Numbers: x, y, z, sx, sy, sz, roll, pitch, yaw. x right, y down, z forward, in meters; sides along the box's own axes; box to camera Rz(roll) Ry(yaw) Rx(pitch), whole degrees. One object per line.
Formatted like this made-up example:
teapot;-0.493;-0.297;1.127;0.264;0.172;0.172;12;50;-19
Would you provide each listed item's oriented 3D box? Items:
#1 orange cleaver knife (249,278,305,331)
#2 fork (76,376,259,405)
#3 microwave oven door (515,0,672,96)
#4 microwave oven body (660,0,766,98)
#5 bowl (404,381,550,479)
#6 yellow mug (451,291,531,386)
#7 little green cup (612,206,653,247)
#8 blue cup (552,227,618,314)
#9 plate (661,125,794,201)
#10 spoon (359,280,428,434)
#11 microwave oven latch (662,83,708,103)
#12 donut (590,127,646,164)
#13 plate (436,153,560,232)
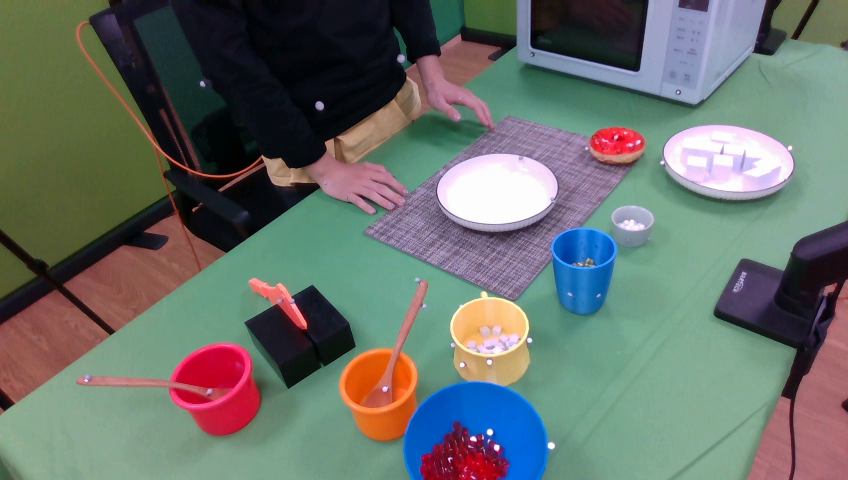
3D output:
orange cleaver knife;-0.210;0.089;0.856;0.012;0.077;0.210;-28;15;-25
fork;-0.295;0.176;0.716;0.209;0.018;0.028;19;27;-37
microwave oven door;0.343;-0.454;1.259;0.353;0.245;0.039;26;51;33
microwave oven body;0.472;-0.513;1.317;0.438;0.261;0.327;26;51;34
bowl;0.058;0.235;0.645;0.151;0.077;0.150;-4;39;4
yellow mug;0.085;0.120;0.786;0.100;0.064;0.130;-7;39;1
little green cup;0.321;-0.019;0.936;0.061;0.039;0.061;-4;41;4
blue cup;0.217;0.047;0.825;0.092;0.100;0.092;-6;40;5
plate;0.513;-0.128;1.035;0.207;0.039;0.206;-4;40;4
spoon;-0.032;0.138;0.719;0.041;0.193;0.022;22;4;30
microwave oven latch;0.517;-0.296;1.204;0.078;0.029;0.030;27;52;35
donut;0.353;-0.174;1.103;0.099;0.048;0.098;-4;38;4
plate;0.125;-0.078;1.029;0.209;0.038;0.208;-4;40;4
